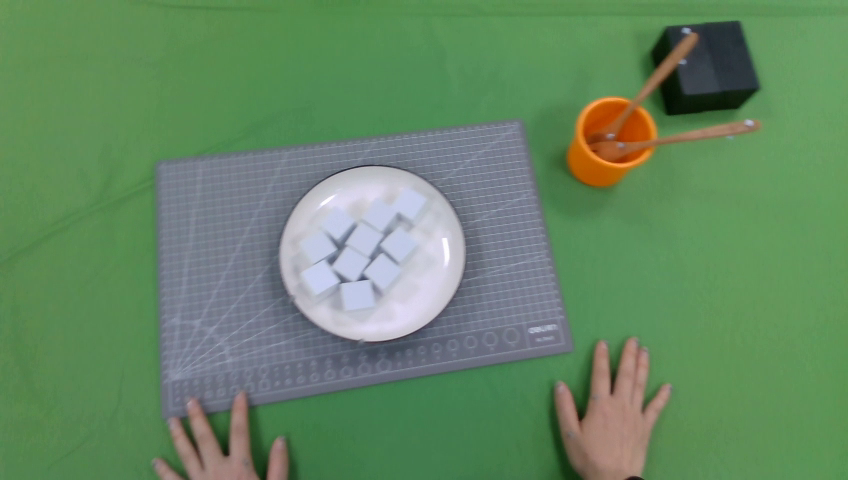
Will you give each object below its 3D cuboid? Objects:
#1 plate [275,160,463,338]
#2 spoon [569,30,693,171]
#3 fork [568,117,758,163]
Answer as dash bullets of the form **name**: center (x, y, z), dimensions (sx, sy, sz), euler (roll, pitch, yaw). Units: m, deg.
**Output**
- **plate**: center (-0.061, 0.011, 0.686), dimensions (0.208, 0.039, 0.206), euler (1, 73, -3)
- **spoon**: center (0.238, -0.158, 0.700), dimensions (0.041, 0.194, 0.022), euler (46, 33, 14)
- **fork**: center (0.260, -0.113, 0.682), dimensions (0.206, 0.019, 0.028), euler (-6, 87, 40)
